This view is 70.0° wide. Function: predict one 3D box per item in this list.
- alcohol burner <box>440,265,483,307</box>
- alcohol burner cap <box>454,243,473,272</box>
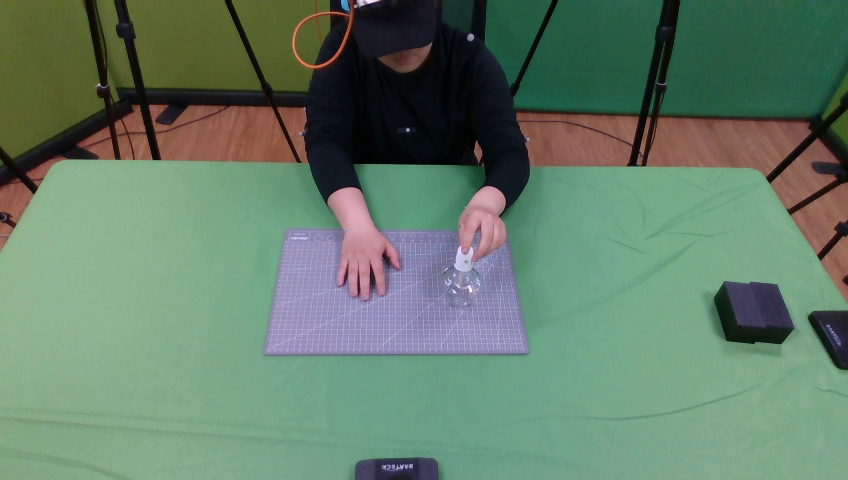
[{"bbox_3d":[0.068,0.064,1.076,0.078,0.120,0.077,1,45,-1],"label":"alcohol burner"},{"bbox_3d":[0.069,0.028,1.041,0.034,0.048,0.033,3,39,-2],"label":"alcohol burner cap"}]
